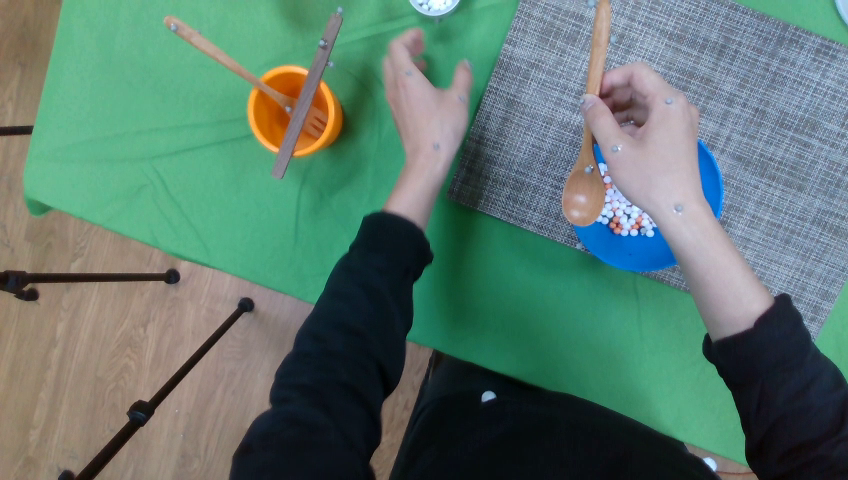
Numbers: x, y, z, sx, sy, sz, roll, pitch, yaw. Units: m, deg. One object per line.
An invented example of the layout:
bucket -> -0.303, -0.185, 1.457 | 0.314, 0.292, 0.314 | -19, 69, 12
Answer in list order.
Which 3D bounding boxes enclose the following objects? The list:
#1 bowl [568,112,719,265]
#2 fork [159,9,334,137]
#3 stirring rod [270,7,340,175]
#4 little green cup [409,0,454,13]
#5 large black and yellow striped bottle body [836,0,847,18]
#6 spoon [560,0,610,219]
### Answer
bowl -> 0.219, -0.054, 0.638 | 0.151, 0.076, 0.151 | 1, 99, 5
fork -> -0.172, -0.165, 0.616 | 0.028, 0.018, 0.209 | -47, 136, 12
stirring rod -> -0.121, -0.149, 0.613 | 0.014, 0.006, 0.176 | 23, 100, 2
little green cup -> 0.008, -0.271, 0.641 | 0.061, 0.038, 0.061 | 1, 99, 5
large black and yellow striped bottle body -> 0.475, -0.264, 0.535 | 0.131, 0.183, 0.131 | 1, 99, 5
spoon -> 0.141, -0.105, 0.513 | 0.041, 0.021, 0.195 | 21, 132, 32
